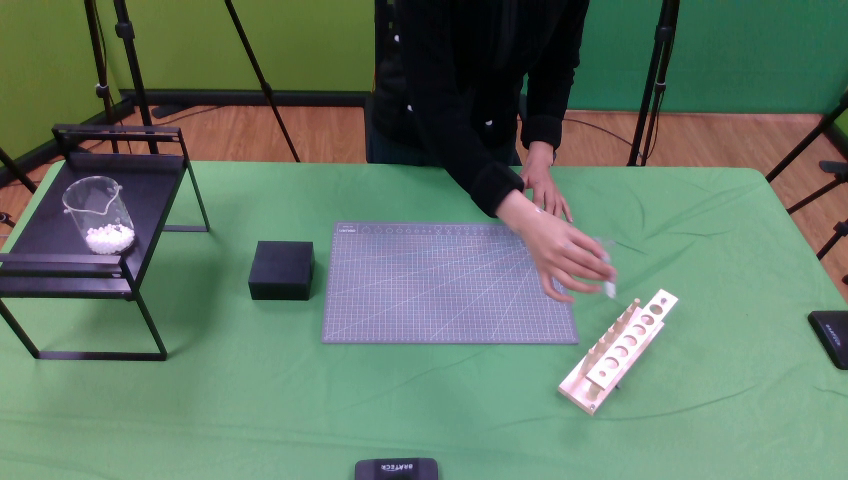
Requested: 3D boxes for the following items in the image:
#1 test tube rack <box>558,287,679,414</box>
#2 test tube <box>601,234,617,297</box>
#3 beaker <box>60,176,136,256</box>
[{"bbox_3d":[0.326,0.170,1.009,0.066,0.085,0.242,35,54,26],"label":"test tube rack"},{"bbox_3d":[0.268,0.041,0.876,0.017,0.151,0.017,-10,51,13],"label":"test tube"},{"bbox_3d":[-0.470,-0.031,0.887,0.074,0.101,0.083,-31,56,-29],"label":"beaker"}]
